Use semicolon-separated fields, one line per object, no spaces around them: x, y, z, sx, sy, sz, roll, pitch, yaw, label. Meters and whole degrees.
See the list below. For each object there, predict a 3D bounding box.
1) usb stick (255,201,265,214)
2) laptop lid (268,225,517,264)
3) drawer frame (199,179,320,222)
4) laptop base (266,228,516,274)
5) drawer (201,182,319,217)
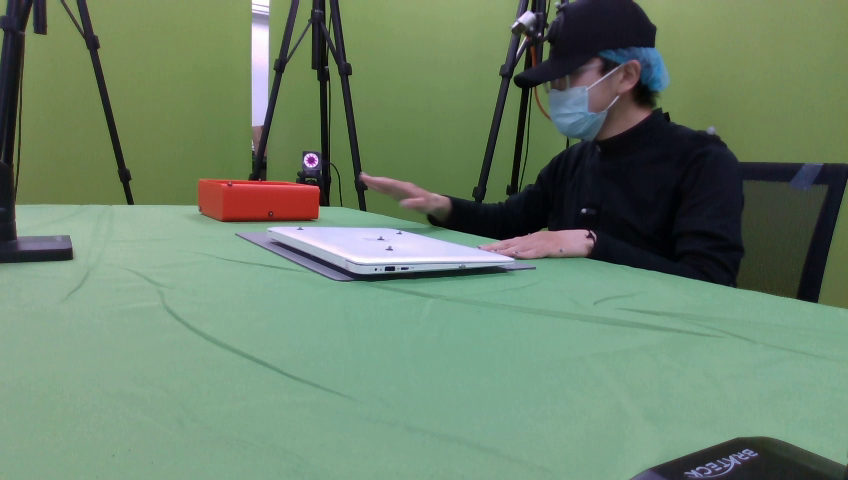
-0.368;-0.074;1.360;0.021;0.027;0.059;1;8;-16;usb stick
-0.063;0.002;0.877;0.243;0.013;0.355;1;7;-30;laptop lid
-0.370;-0.093;1.356;0.215;0.082;0.200;-4;10;-34;drawer frame
-0.066;0.014;0.877;0.237;0.023;0.352;2;6;-32;laptop base
-0.369;-0.092;1.358;0.213;0.073;0.193;-3;10;-34;drawer
